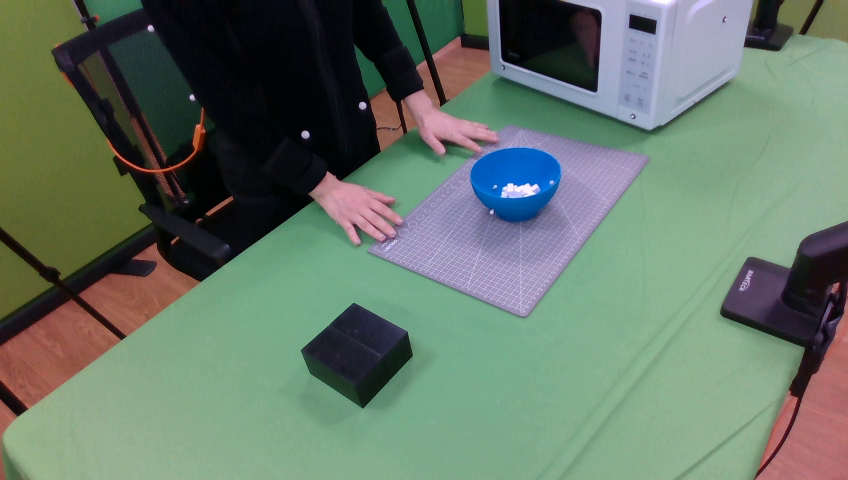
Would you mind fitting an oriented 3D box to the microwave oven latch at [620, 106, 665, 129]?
[{"bbox_3d":[0.412,-0.237,1.146,0.030,0.029,0.078,-32,44,-24],"label":"microwave oven latch"}]

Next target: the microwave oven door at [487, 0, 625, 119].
[{"bbox_3d":[0.262,-0.409,1.221,0.039,0.245,0.352,-33,45,-25],"label":"microwave oven door"}]

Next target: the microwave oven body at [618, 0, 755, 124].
[{"bbox_3d":[0.402,-0.458,1.259,0.327,0.261,0.437,-33,45,-24],"label":"microwave oven body"}]

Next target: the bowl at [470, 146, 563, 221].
[{"bbox_3d":[0.155,-0.084,1.008,0.151,0.077,0.150,-6,40,5],"label":"bowl"}]
